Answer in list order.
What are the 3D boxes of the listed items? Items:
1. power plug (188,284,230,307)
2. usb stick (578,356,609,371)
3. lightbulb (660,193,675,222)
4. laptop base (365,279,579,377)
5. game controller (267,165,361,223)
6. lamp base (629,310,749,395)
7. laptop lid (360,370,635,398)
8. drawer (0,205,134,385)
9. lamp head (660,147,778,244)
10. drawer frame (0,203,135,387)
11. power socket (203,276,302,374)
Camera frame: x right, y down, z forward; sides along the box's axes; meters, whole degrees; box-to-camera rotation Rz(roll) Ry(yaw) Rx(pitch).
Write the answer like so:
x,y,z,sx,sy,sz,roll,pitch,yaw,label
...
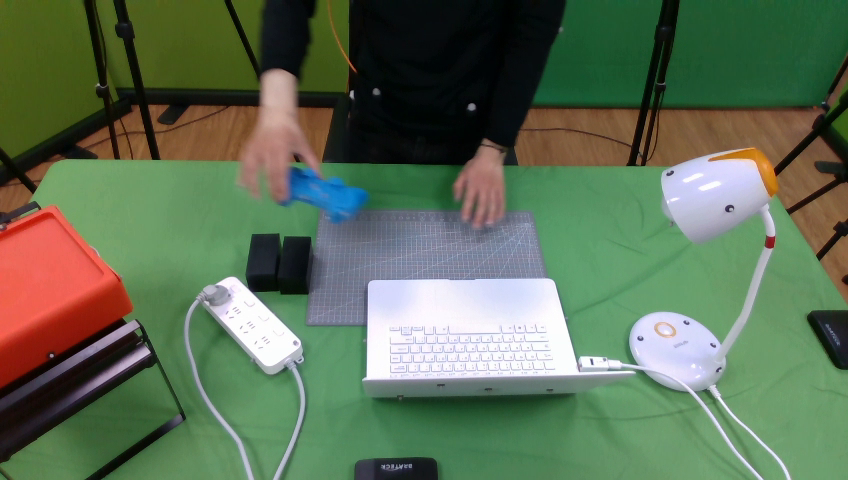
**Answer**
x,y,z,sx,sy,sz,roll,pitch,yaw,label
-0.368,0.100,1.036,0.072,0.053,0.035,-27,54,-24,power plug
0.274,0.207,1.007,0.059,0.027,0.021,0,52,0,usb stick
0.366,-0.060,0.806,0.060,0.107,0.059,16,61,-31,lightbulb
0.076,0.162,1.053,0.355,0.023,0.234,0,44,-4,laptop base
-0.191,-0.088,1.033,0.155,0.052,0.096,19,46,5,game controller
0.447,0.142,0.984,0.161,0.181,0.178,-24,55,-24,lamp base
0.090,0.208,0.863,0.357,0.242,0.013,0,71,-6,laptop lid
-0.533,0.071,0.802,0.193,0.073,0.211,37,55,26,drawer
0.389,-0.063,0.785,0.123,0.113,0.112,-21,33,37,lamp head
-0.536,0.073,0.798,0.200,0.083,0.213,36,54,26,drawer frame
-0.296,0.141,1.034,0.072,0.033,0.225,-34,58,-31,power socket
